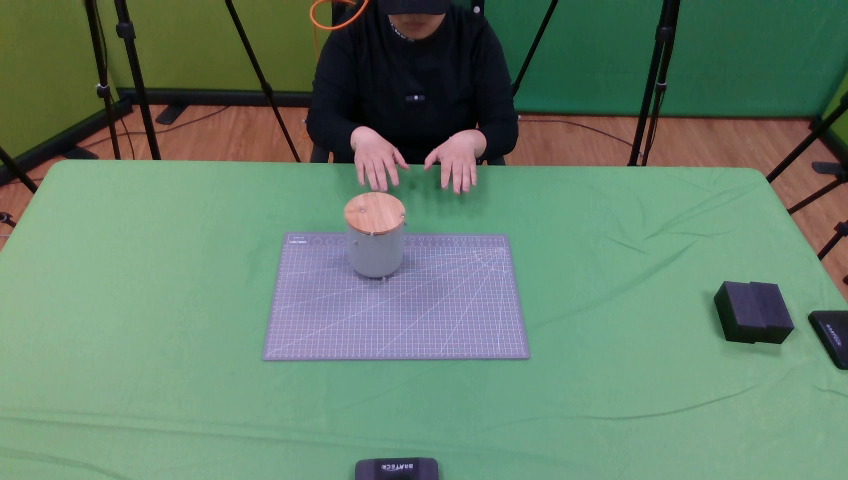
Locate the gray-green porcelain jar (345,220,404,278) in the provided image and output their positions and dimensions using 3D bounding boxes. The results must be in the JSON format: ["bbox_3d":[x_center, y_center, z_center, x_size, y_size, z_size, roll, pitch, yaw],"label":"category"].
[{"bbox_3d":[-0.091,-0.001,1.117,0.106,0.127,0.105,2,46,-2],"label":"gray-green porcelain jar"}]

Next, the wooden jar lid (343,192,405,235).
[{"bbox_3d":[-0.088,-0.044,1.072,0.108,0.021,0.107,3,45,-3],"label":"wooden jar lid"}]
